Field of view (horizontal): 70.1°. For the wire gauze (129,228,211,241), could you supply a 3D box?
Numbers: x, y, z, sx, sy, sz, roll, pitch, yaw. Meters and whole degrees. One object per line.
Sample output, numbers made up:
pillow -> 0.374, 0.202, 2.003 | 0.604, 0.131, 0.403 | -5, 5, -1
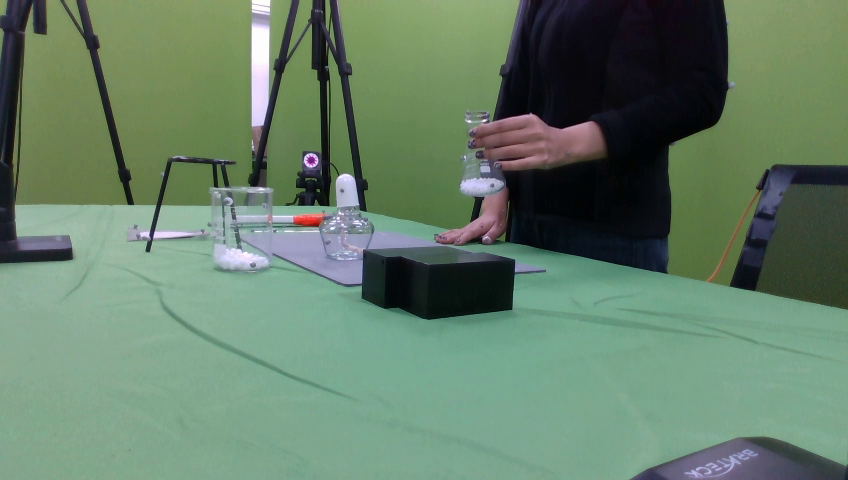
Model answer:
wire gauze -> -0.419, -0.010, 0.999 | 0.122, 0.011, 0.124 | 0, 6, -25

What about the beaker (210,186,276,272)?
beaker -> -0.224, -0.014, 0.738 | 0.084, 0.100, 0.074 | 4, 7, 16

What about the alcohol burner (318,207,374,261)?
alcohol burner -> -0.107, -0.032, 0.833 | 0.078, 0.119, 0.078 | 1, 6, 0

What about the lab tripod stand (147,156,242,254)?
lab tripod stand -> -0.310, -0.050, 0.858 | 0.148, 0.131, 0.148 | 4, 6, 0

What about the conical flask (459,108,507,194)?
conical flask -> 0.087, -0.136, 0.919 | 0.075, 0.122, 0.075 | -5, 24, 3

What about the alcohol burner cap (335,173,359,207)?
alcohol burner cap -> -0.108, -0.068, 0.829 | 0.034, 0.048, 0.034 | -7, 4, 1

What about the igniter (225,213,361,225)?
igniter -> -0.257, -0.042, 1.221 | 0.278, 0.025, 0.057 | -2, -2, -32

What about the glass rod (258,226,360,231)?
glass rod -> -0.215, -0.022, 1.151 | 0.201, 0.008, 0.008 | -2, 8, -28
